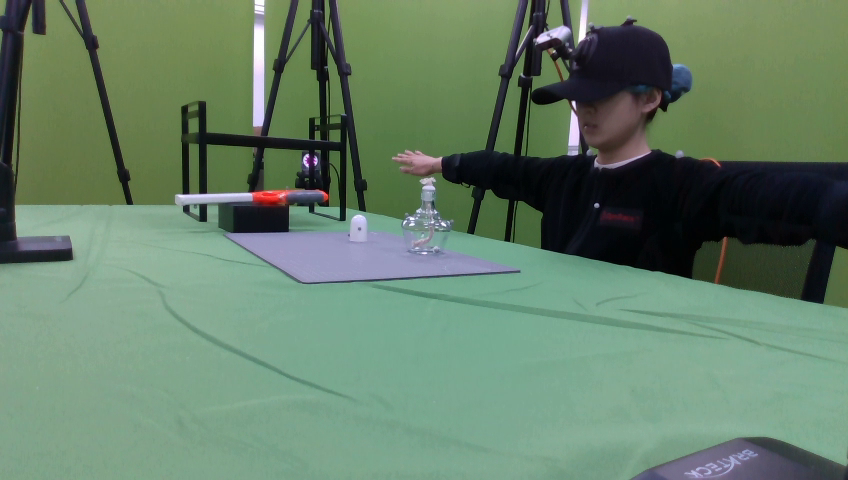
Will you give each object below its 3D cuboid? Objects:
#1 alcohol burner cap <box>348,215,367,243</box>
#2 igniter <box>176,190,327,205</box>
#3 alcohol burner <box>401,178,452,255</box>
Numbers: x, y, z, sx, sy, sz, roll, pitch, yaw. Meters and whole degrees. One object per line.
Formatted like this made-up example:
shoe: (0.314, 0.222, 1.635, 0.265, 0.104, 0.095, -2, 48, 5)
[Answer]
alcohol burner cap: (-0.112, -0.019, 1.025, 0.034, 0.048, 0.034, 2, 6, 0)
igniter: (-0.316, -0.080, 1.137, 0.278, 0.025, 0.057, -4, 13, -33)
alcohol burner: (0.005, -0.036, 0.923, 0.078, 0.119, 0.078, 5, 7, 0)
